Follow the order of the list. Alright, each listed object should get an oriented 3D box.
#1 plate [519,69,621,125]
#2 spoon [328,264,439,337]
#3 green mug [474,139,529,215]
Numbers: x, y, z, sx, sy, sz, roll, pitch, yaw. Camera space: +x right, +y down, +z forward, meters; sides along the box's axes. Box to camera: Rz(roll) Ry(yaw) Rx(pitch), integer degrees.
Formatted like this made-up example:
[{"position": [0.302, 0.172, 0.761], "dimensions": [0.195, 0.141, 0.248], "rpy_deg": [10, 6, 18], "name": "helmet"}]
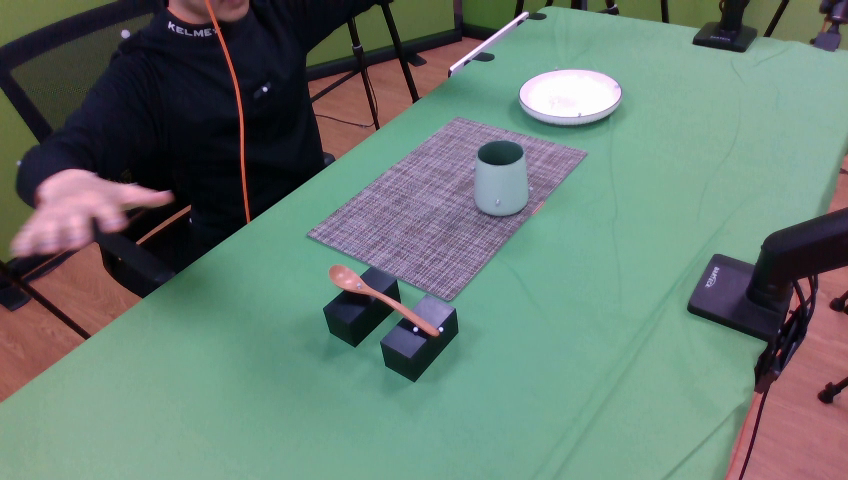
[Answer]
[{"position": [0.300, -0.293, 1.253], "dimensions": [0.209, 0.038, 0.208], "rpy_deg": [-4, 41, 4], "name": "plate"}, {"position": [-0.056, 0.079, 0.807], "dimensions": [0.192, 0.021, 0.042], "rpy_deg": [25, 33, 32], "name": "spoon"}, {"position": [0.126, -0.113, 1.013], "dimensions": [0.092, 0.105, 0.124], "rpy_deg": [-8, 41, 0], "name": "green mug"}]
